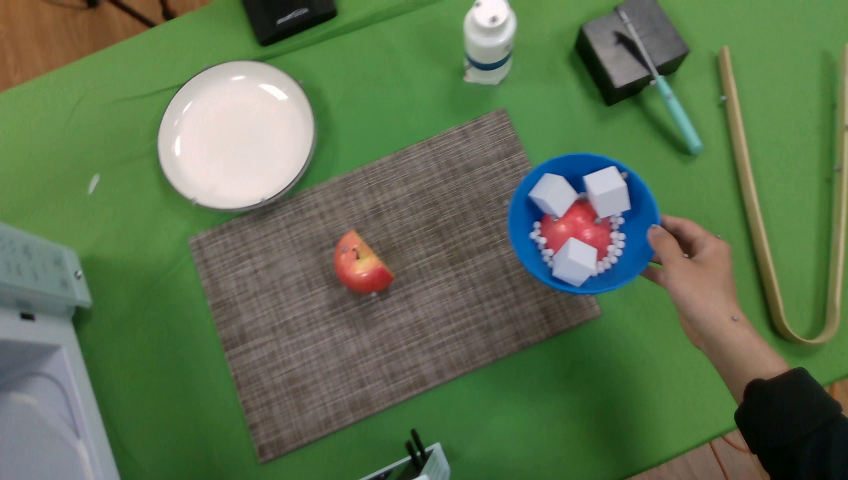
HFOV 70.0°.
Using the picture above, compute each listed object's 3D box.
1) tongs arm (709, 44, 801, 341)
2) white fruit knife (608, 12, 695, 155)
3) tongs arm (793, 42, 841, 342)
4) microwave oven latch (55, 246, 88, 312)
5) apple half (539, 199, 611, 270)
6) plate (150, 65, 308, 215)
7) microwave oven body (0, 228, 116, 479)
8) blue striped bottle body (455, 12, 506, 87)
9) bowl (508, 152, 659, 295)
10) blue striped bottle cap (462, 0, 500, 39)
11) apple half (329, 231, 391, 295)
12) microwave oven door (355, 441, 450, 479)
[{"bbox_3d":[0.403,-0.066,0.754,0.028,0.028,0.385,-6,77,-1],"label":"tongs arm"},{"bbox_3d":[0.284,-0.196,0.761,0.016,0.027,0.207,-32,94,14],"label":"white fruit knife"},{"bbox_3d":[0.484,-0.065,0.746,0.051,0.026,0.383,6,79,5],"label":"tongs arm"},{"bbox_3d":[-0.451,0.048,0.758,0.030,0.029,0.079,-24,78,-3],"label":"microwave oven latch"},{"bbox_3d":[0.164,-0.009,0.639,0.081,0.033,0.081,-2,72,5],"label":"apple half"},{"bbox_3d":[-0.255,-0.129,0.805,0.207,0.039,0.206,-1,77,3],"label":"plate"},{"bbox_3d":[-0.519,0.243,0.619,0.326,0.261,0.439,-25,78,-3],"label":"microwave oven body"},{"bbox_3d":[0.072,-0.250,0.768,0.063,0.121,0.063,-1,77,4],"label":"blue striped bottle body"},{"bbox_3d":[0.163,-0.009,0.644,0.151,0.077,0.150,-1,74,5],"label":"bowl"},{"bbox_3d":[0.068,-0.263,0.719,0.044,0.021,0.044,0,80,3],"label":"blue striped bottle cap"},{"bbox_3d":[-0.084,0.036,0.735,0.053,0.075,0.080,-44,82,-1],"label":"apple half"},{"bbox_3d":[-0.145,0.296,0.580,0.356,0.245,0.039,-25,76,-2],"label":"microwave oven door"}]
